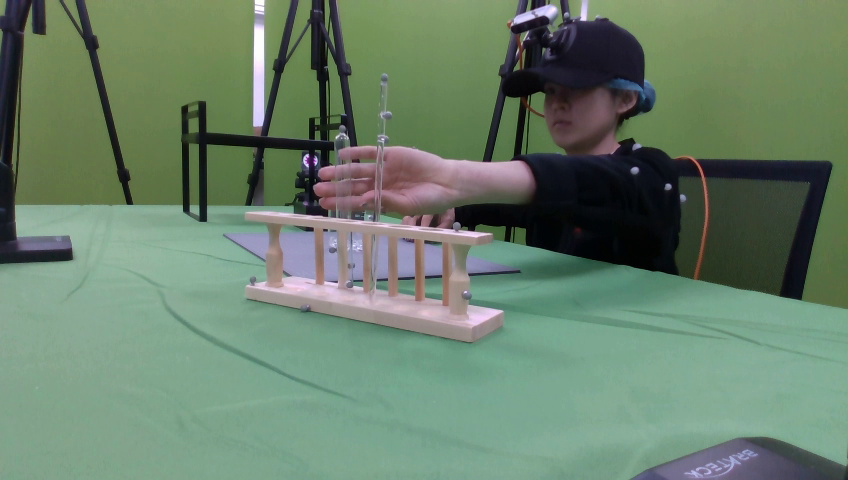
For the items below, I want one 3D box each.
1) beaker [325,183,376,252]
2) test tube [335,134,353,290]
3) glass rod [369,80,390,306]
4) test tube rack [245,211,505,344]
[{"bbox_3d":[-0.110,-0.034,0.920,0.083,0.100,0.074,10,11,43],"label":"beaker"},{"bbox_3d":[-0.077,-0.026,0.579,0.017,0.150,0.017,0,7,0],"label":"test tube"},{"bbox_3d":[-0.039,-0.039,0.530,0.008,0.199,0.008,4,2,0],"label":"glass rod"},{"bbox_3d":[-0.049,0.025,0.547,0.241,0.085,0.067,7,8,29],"label":"test tube rack"}]
